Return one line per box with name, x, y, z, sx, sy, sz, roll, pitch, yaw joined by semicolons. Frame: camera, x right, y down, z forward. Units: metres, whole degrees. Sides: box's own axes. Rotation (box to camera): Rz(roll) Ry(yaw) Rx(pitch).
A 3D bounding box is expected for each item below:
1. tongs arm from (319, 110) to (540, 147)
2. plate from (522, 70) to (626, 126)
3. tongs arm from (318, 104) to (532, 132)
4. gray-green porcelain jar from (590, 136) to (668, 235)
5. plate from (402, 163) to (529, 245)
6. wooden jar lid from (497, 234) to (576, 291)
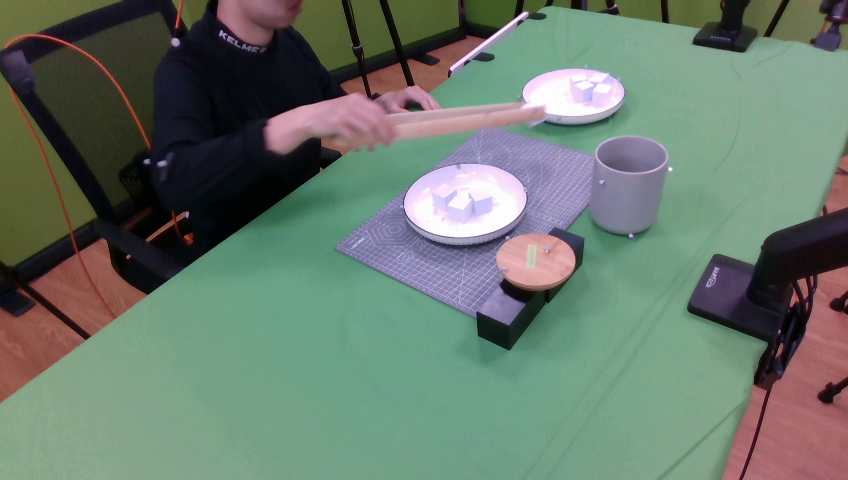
tongs arm;0.017;-0.195;1.027;0.387;0.026;0.050;-11;36;-19
plate;0.308;-0.290;1.251;0.207;0.039;0.206;-4;40;4
tongs arm;0.010;-0.207;1.045;0.389;0.028;0.028;-9;39;-16
gray-green porcelain jar;0.314;-0.080;0.937;0.106;0.127;0.105;-4;41;4
plate;0.069;-0.056;1.008;0.209;0.038;0.208;-4;40;4
wooden jar lid;0.155;0.032;0.834;0.108;0.021;0.108;-5;40;4
